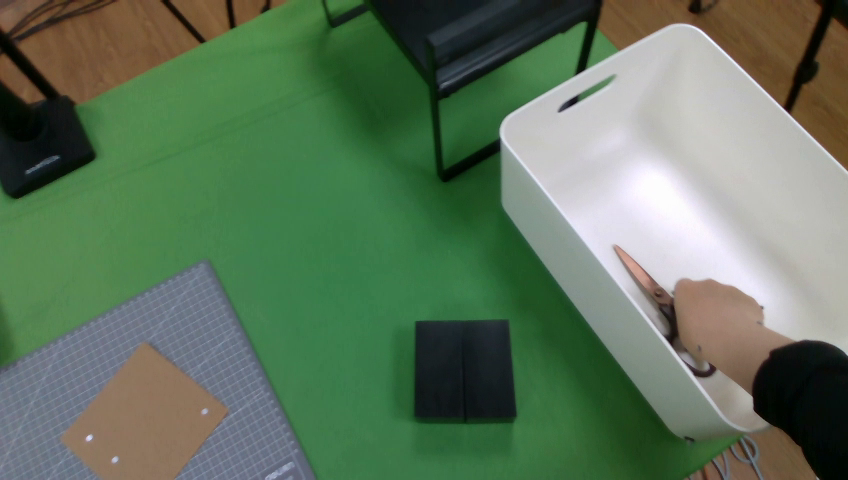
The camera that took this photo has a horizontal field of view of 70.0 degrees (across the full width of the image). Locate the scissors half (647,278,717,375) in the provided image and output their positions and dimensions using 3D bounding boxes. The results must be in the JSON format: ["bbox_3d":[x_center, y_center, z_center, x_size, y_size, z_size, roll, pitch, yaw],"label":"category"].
[{"bbox_3d":[0.262,0.076,0.678,0.040,0.013,0.173,-23,57,-4],"label":"scissors half"}]

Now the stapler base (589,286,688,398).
[{"bbox_3d":[0.234,0.108,0.662,0.041,0.024,0.130,-35,77,1],"label":"stapler base"}]

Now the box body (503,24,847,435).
[{"bbox_3d":[0.276,-0.010,0.637,0.254,0.161,0.361,-30,68,-9],"label":"box body"}]

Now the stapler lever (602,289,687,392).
[{"bbox_3d":[0.232,0.104,0.637,0.027,0.040,0.117,-35,76,1],"label":"stapler lever"}]

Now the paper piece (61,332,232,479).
[{"bbox_3d":[-0.304,0.194,0.662,0.137,0.009,0.136,34,77,14],"label":"paper piece"}]

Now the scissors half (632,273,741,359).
[{"bbox_3d":[0.279,0.066,0.681,0.040,0.013,0.173,-36,60,-18],"label":"scissors half"}]
